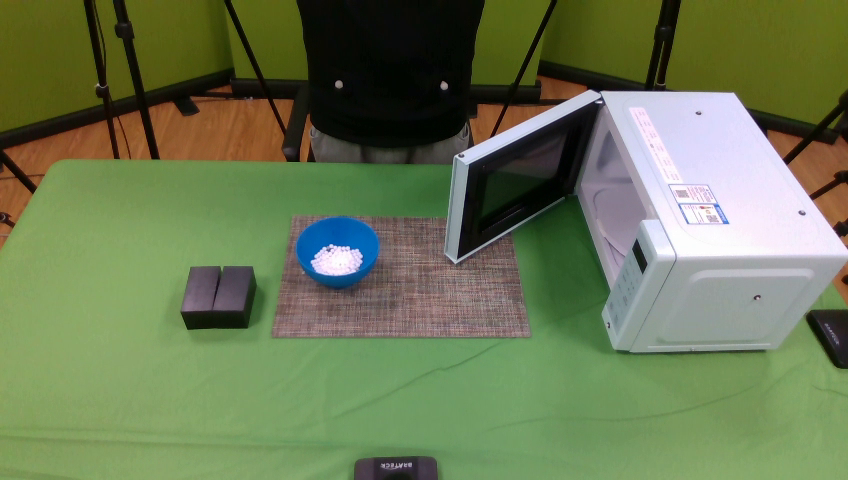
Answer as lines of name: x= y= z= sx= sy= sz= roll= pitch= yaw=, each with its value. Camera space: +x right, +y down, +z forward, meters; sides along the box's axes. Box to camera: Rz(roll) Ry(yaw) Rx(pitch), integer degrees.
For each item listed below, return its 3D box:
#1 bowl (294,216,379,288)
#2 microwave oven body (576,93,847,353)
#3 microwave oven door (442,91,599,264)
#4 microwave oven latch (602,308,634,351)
bowl: x=-0.158 y=0.036 z=1.110 sx=0.151 sy=0.077 sz=0.150 roll=3 pitch=45 yaw=-2
microwave oven body: x=0.475 y=-0.041 z=1.109 sx=0.326 sy=0.261 sz=0.438 roll=-1 pitch=45 yaw=-4
microwave oven door: x=0.187 y=-0.123 z=1.160 sx=0.356 sy=0.245 sz=0.039 roll=-29 pitch=54 yaw=-29
microwave oven latch: x=0.332 y=0.153 z=1.043 sx=0.030 sy=0.029 sz=0.078 roll=0 pitch=45 yaw=-4
